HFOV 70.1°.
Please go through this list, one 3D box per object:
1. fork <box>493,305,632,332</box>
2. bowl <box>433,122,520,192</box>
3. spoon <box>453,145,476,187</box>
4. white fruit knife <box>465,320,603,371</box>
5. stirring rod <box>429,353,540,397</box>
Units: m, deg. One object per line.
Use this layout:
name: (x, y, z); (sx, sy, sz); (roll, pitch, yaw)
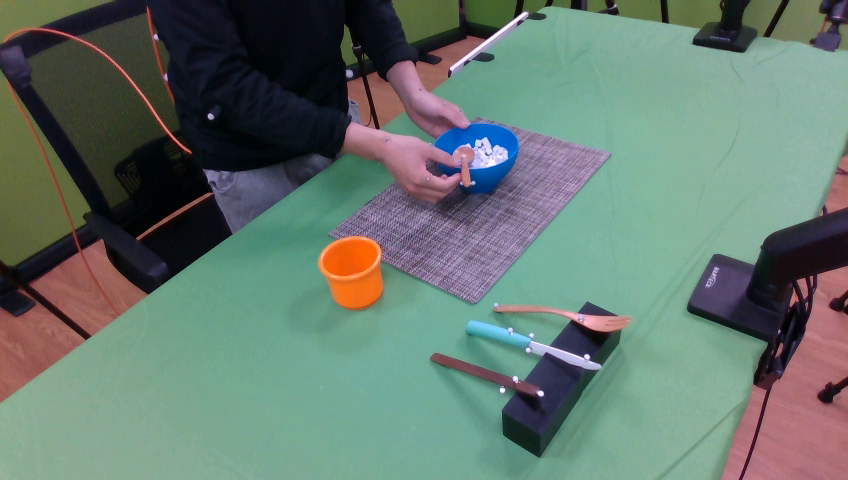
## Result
fork: (0.171, 0.097, 0.783); (0.205, 0.019, 0.028); (4, 40, 43)
bowl: (0.093, -0.137, 1.064); (0.151, 0.077, 0.150); (-4, 41, 4)
spoon: (0.067, -0.125, 1.000); (0.041, 0.022, 0.193); (-9, 21, 7)
white fruit knife: (0.128, 0.129, 0.749); (0.205, 0.027, 0.016); (10, 44, 44)
stirring rod: (0.069, 0.162, 0.737); (0.174, 0.006, 0.014); (8, 41, 47)
